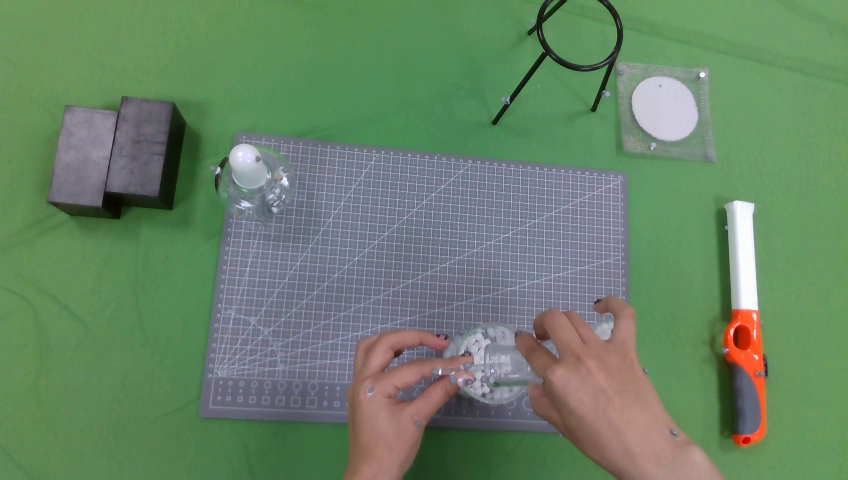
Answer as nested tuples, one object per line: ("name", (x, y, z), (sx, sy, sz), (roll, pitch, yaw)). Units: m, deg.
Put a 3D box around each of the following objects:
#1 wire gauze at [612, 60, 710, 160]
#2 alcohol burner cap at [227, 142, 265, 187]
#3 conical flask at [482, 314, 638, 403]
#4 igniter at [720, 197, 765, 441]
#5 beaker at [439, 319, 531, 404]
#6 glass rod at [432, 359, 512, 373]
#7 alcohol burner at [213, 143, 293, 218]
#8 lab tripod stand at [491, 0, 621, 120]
("wire gauze", (0.292, -0.162, 0.742), (0.125, 0.011, 0.121), (3, 79, -10))
("alcohol burner cap", (-0.166, -0.073, 0.561), (0.034, 0.048, 0.033), (3, 71, -10))
("conical flask", (0.113, 0.103, 0.519), (0.122, 0.075, 0.075), (-2, 79, -3))
("igniter", (0.362, 0.087, 0.693), (0.057, 0.025, 0.275), (7, 78, -18))
("beaker", (0.058, 0.118, 0.602), (0.084, 0.100, 0.074), (-38, 86, -14))
("glass rod", (0.048, 0.110, 0.531), (0.008, 0.201, 0.008), (-4, 79, 23))
("alcohol burner", (-0.170, -0.064, 0.596), (0.078, 0.119, 0.077), (1, 79, -6))
("lab tripod stand", (0.143, -0.197, 0.662), (0.149, 0.131, 0.148), (1, 80, -8))
